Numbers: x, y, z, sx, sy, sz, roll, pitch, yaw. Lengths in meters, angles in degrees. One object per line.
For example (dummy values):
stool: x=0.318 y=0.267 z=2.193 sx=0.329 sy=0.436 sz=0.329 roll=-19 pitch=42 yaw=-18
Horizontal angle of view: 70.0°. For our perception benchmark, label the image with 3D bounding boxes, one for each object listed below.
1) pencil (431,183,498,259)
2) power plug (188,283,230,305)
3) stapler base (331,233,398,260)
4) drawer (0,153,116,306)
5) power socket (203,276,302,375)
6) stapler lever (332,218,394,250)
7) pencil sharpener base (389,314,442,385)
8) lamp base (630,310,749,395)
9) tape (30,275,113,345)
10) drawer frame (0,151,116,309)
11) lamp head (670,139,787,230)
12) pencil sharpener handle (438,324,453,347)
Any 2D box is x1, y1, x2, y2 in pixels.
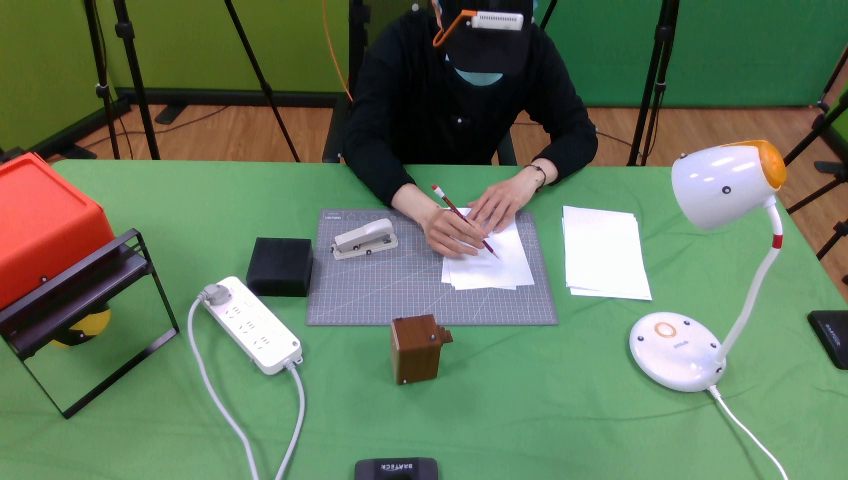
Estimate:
pencil: x=0.079 y=-0.034 z=1.141 sx=0.194 sy=0.012 sz=0.012 roll=48 pitch=49 yaw=-14
power plug: x=-0.368 y=0.099 z=1.036 sx=0.072 sy=0.053 sz=0.035 roll=-24 pitch=52 yaw=-25
stapler base: x=-0.116 y=0.004 z=1.181 sx=0.131 sy=0.024 sz=0.041 roll=-13 pitch=48 yaw=-14
drawer: x=-0.601 y=-0.015 z=0.880 sx=0.193 sy=0.073 sz=0.211 roll=32 pitch=53 yaw=23
power socket: x=-0.297 y=0.142 z=1.034 sx=0.072 sy=0.033 sz=0.225 roll=-34 pitch=58 yaw=-30
stapler lever: x=-0.116 y=-0.012 z=1.162 sx=0.118 sy=0.040 sz=0.026 roll=-13 pitch=48 yaw=-14
pencil sharpener base: x=-0.013 y=0.175 z=0.971 sx=0.077 sy=0.107 sz=0.061 roll=-8 pitch=47 yaw=-11
lamp base: x=0.447 y=0.143 z=0.984 sx=0.161 sy=0.181 sz=0.178 roll=-24 pitch=55 yaw=-24
tape: x=-0.593 y=0.117 z=1.021 sx=0.117 sy=0.053 sz=0.116 roll=2 pitch=46 yaw=-2
drawer frame: x=-0.604 y=-0.013 z=0.876 sx=0.201 sy=0.083 sz=0.213 roll=31 pitch=52 yaw=23
lamp head: x=0.415 y=-0.078 z=0.812 sx=0.113 sy=0.123 sz=0.112 roll=13 pitch=70 yaw=-37
pencil sharpener handle: x=0.036 y=0.155 z=0.976 sx=0.031 sy=0.068 sz=0.036 roll=-8 pitch=70 yaw=-11
